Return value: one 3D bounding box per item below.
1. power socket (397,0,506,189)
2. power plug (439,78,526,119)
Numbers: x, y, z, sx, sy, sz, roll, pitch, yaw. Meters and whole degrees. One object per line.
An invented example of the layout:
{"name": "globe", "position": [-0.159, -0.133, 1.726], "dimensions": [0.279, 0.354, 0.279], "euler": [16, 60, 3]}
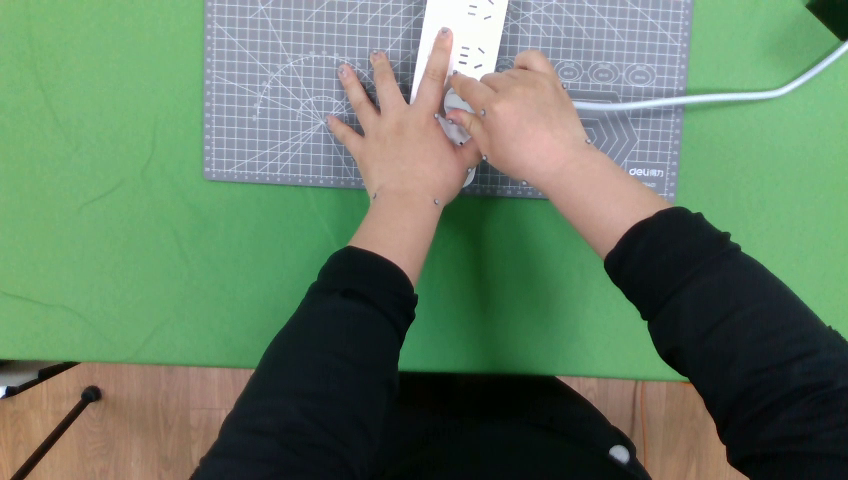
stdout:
{"name": "power socket", "position": [0.027, -0.159, 0.550], "dimensions": [0.072, 0.032, 0.227], "euler": [10, 97, -3]}
{"name": "power plug", "position": [0.047, -0.116, 0.531], "dimensions": [0.072, 0.052, 0.035], "euler": [27, 96, 0]}
